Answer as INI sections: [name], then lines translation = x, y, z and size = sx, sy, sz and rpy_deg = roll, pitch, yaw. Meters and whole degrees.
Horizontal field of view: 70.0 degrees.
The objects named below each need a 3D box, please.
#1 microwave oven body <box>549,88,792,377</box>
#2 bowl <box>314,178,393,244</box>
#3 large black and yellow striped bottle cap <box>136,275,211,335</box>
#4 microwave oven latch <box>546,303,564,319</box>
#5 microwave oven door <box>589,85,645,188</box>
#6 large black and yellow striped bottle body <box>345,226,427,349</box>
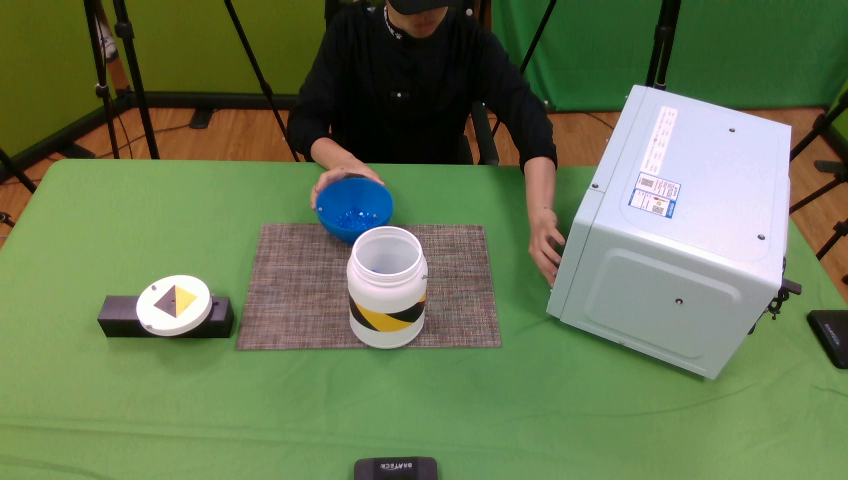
[microwave oven body]
translation = 0.456, -0.028, 1.088
size = 0.325, 0.261, 0.440
rpy_deg = 20, 47, 16
[bowl]
translation = -0.136, -0.045, 1.186
size = 0.151, 0.077, 0.150
rpy_deg = 2, 46, -2
[large black and yellow striped bottle cap]
translation = -0.412, 0.105, 0.998
size = 0.115, 0.019, 0.114
rpy_deg = 3, 46, -3
[microwave oven latch]
translation = 0.242, 0.102, 1.081
size = 0.030, 0.029, 0.079
rpy_deg = 22, 48, 17
[microwave oven door]
translation = 0.341, -0.107, 1.149
size = 0.039, 0.245, 0.354
rpy_deg = 20, 48, 15
[large black and yellow striped bottle body]
translation = -0.062, 0.078, 0.998
size = 0.131, 0.185, 0.130
rpy_deg = 2, 46, -2
